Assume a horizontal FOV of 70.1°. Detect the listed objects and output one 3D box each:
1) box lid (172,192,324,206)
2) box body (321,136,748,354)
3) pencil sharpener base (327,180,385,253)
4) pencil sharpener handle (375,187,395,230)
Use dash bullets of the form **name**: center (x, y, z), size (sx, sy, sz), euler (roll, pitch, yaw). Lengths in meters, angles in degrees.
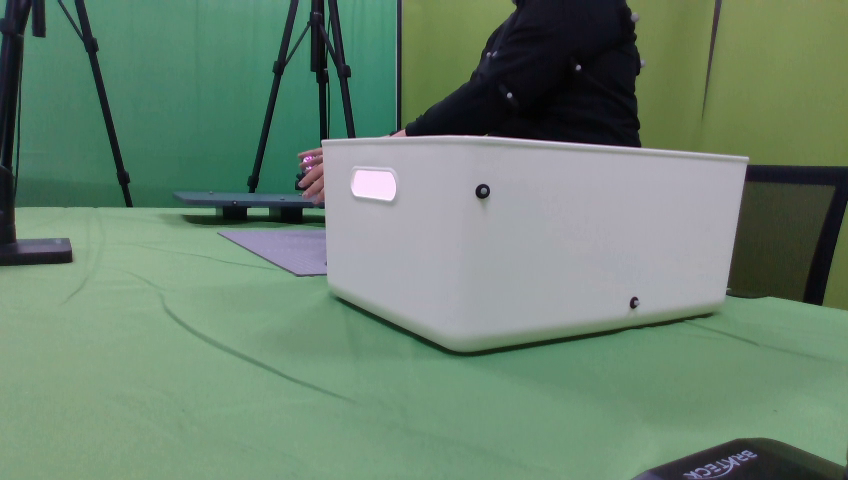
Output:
- **box lid**: center (-0.355, -0.091, 1.350), size (0.373, 0.015, 0.262), euler (-1, 8, -29)
- **box body**: center (0.105, -0.012, 0.603), size (0.366, 0.160, 0.253), euler (-2, 8, -33)
- **pencil sharpener base**: center (-0.103, -0.037, 0.932), size (0.077, 0.107, 0.061), euler (-1, 7, -30)
- **pencil sharpener handle**: center (-0.059, -0.050, 0.958), size (0.031, 0.067, 0.036), euler (-1, 13, -30)
